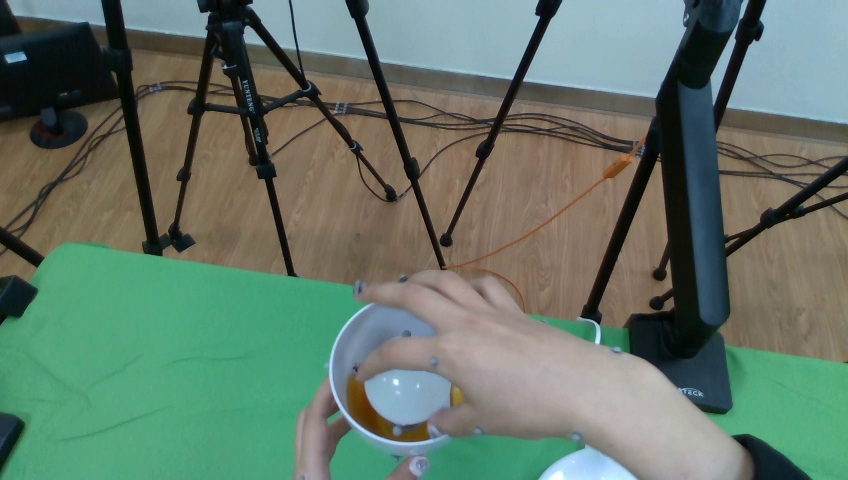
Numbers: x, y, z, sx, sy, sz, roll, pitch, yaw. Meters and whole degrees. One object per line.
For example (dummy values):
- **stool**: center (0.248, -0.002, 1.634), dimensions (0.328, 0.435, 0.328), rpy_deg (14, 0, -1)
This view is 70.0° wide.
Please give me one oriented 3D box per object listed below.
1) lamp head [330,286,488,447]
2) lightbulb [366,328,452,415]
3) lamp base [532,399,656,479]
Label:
- **lamp head**: center (-0.007, 0.109, 0.470), dimensions (0.112, 0.124, 0.111), rpy_deg (-2, 59, 3)
- **lightbulb**: center (-0.012, 0.100, 0.441), dimensions (0.059, 0.108, 0.059), rpy_deg (1, 67, -3)
- **lamp base**: center (0.193, 0.246, 0.607), dimensions (0.161, 0.182, 0.177), rpy_deg (-3, 52, -5)
